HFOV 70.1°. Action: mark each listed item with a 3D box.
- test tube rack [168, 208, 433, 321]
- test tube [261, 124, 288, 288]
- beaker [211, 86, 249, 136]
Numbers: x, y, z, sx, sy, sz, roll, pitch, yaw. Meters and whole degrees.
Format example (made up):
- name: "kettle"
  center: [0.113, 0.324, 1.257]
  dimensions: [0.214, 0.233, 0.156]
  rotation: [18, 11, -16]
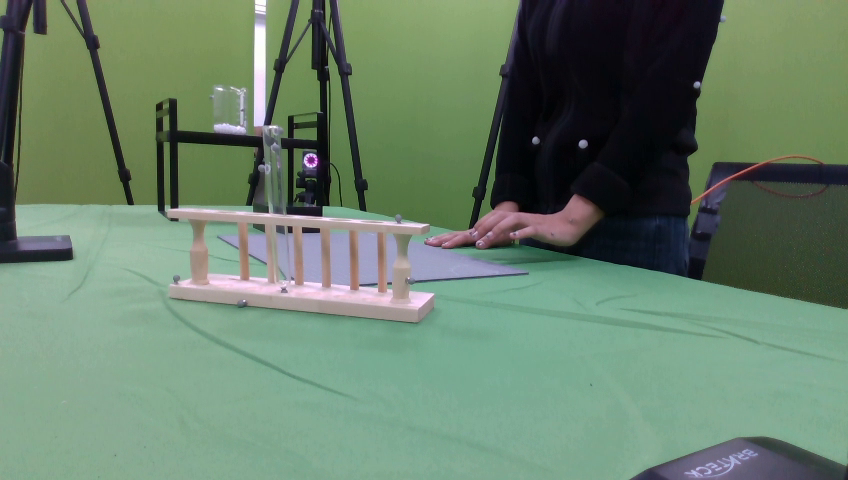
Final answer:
- name: "test tube rack"
  center: [-0.115, 0.017, 0.574]
  dimensions: [0.242, 0.085, 0.067]
  rotation: [4, 8, 13]
- name: "test tube"
  center: [-0.137, -0.030, 0.555]
  dimensions: [0.017, 0.150, 0.017]
  rotation: [-2, 9, 1]
- name: "beaker"
  center: [-0.413, -0.274, 1.297]
  dimensions: [0.074, 0.100, 0.083]
  rotation: [-5, 11, -44]
